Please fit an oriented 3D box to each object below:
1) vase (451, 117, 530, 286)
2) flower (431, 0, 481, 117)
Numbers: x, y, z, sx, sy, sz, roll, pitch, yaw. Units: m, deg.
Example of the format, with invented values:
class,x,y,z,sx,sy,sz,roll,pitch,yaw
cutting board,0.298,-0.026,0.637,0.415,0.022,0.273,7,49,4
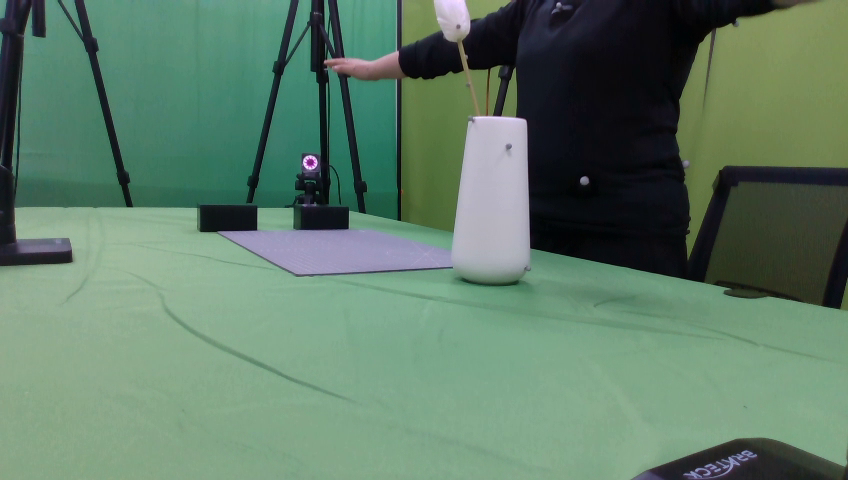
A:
class,x,y,z,sx,sy,sz,roll,pitch,yaw
vase,0.083,-0.047,0.737,0.098,0.200,0.098,1,6,0
flower,0.071,-0.129,0.736,0.038,0.361,0.044,-16,-2,40
